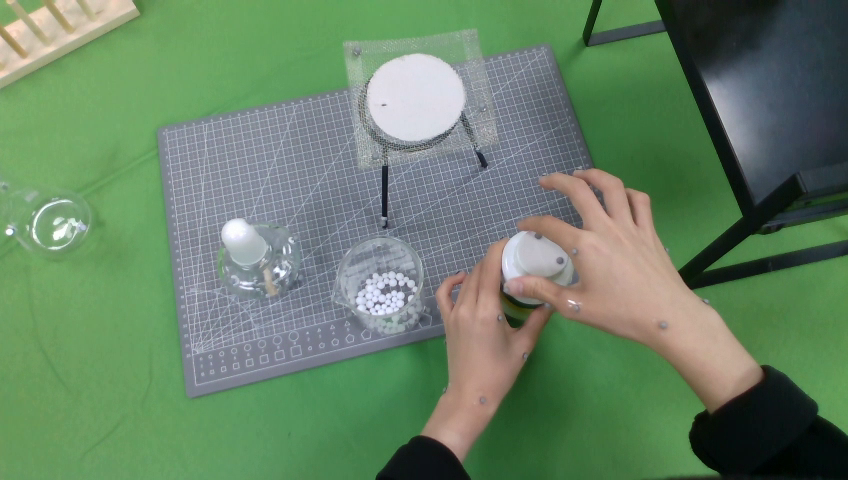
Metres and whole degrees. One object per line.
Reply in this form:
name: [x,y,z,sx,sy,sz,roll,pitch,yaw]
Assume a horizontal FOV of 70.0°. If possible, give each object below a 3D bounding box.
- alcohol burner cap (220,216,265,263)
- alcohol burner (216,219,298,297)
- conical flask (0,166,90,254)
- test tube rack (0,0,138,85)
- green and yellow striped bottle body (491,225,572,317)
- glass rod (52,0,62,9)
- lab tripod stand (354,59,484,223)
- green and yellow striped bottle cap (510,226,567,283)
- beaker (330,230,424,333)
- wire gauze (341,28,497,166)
alcohol burner cap: [-0.161,-0.003,0.529,0.034,0.048,0.033,0,64,0]
alcohol burner: [-0.159,0.011,0.563,0.078,0.120,0.077,0,69,0]
conical flask: [-0.388,-0.038,0.582,0.075,0.122,0.075,0,71,2]
test tube rack: [-0.460,-0.246,0.672,0.242,0.086,0.066,-33,74,-9]
green and yellow striped bottle body: [0.096,0.028,0.548,0.063,0.120,0.063,0,71,2]
glass rod: [-0.423,-0.311,0.623,0.008,0.201,0.008,1,68,-3]
lab tripod stand: [-0.010,-0.101,0.586,0.148,0.132,0.147,0,70,0]
green and yellow striped bottle cap: [0.095,0.011,0.498,0.045,0.020,0.045,0,72,1]
beaker: [-0.039,0.045,0.557,0.084,0.101,0.073,-24,72,-6]
wire gauze: [-0.006,-0.128,0.524,0.121,0.011,0.124,-8,72,-3]
